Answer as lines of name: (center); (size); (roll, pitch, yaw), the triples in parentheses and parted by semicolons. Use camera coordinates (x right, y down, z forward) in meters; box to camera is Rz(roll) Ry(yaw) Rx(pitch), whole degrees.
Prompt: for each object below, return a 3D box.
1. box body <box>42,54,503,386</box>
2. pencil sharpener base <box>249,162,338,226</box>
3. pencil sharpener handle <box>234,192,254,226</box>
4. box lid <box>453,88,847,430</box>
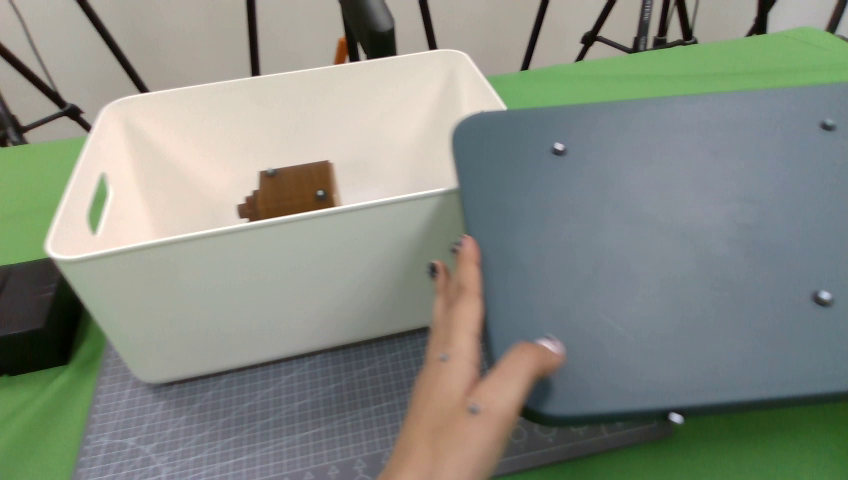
box body: (-0.107, -0.032, 0.572); (0.365, 0.162, 0.251); (-11, 40, -8)
pencil sharpener base: (-0.119, -0.011, 0.582); (0.077, 0.108, 0.060); (-10, 41, -6)
pencil sharpener handle: (-0.170, -0.012, 0.569); (0.031, 0.068, 0.035); (-10, 43, -6)
box lid: (0.210, -0.012, 0.404); (0.372, 0.015, 0.260); (-5, 48, -2)
